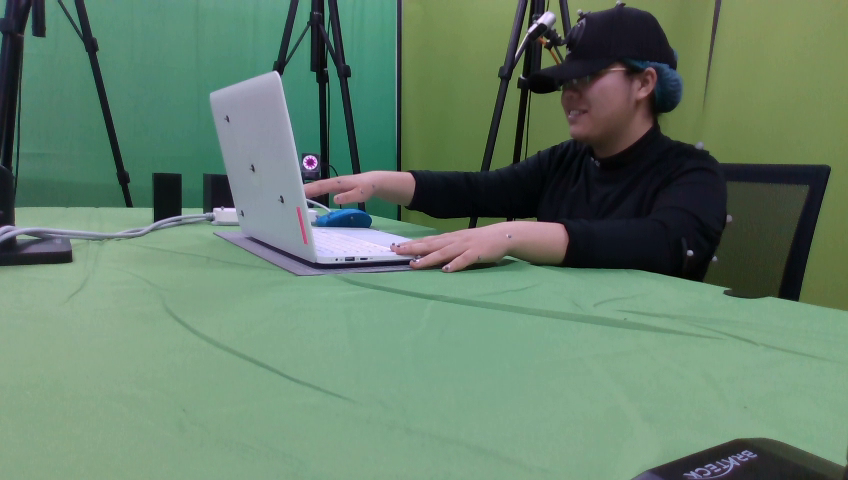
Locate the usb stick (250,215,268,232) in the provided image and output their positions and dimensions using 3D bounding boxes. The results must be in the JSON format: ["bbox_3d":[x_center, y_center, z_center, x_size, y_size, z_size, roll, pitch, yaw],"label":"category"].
[{"bbox_3d":[-0.290,-0.028,1.070,0.021,0.027,0.059,-1,11,-30],"label":"usb stick"}]

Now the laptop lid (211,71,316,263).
[{"bbox_3d":[-0.240,-0.104,0.861,0.013,0.241,0.355,-16,17,-29],"label":"laptop lid"}]

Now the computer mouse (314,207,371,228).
[{"bbox_3d":[-0.173,-0.047,1.285,0.118,0.041,0.062,-7,12,-30],"label":"computer mouse"}]

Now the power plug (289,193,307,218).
[{"bbox_3d":[-0.281,-0.076,1.340,0.035,0.052,0.072,3,6,-17],"label":"power plug"}]

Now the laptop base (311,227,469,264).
[{"bbox_3d":[-0.123,0.006,0.951,0.237,0.023,0.352,2,6,-32],"label":"laptop base"}]

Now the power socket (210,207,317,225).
[{"bbox_3d":[-0.334,-0.051,1.281,0.228,0.032,0.072,-1,8,-28],"label":"power socket"}]
